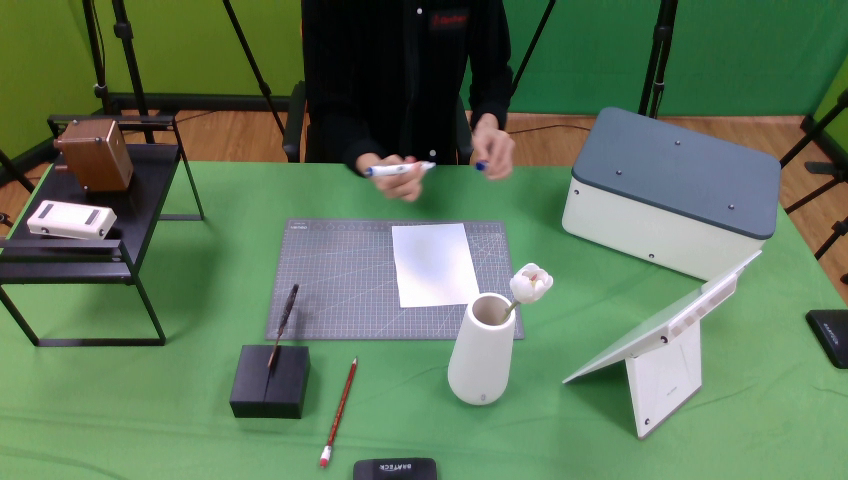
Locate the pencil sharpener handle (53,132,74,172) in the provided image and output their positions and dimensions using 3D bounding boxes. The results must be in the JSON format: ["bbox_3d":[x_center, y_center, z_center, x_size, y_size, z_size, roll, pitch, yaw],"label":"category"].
[{"bbox_3d":[-0.578,-0.138,0.961,0.031,0.068,0.036,-4,34,-7],"label":"pencil sharpener handle"}]

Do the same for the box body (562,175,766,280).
[{"bbox_3d":[0.486,-0.088,1.222,0.363,0.161,0.253,20,48,15],"label":"box body"}]

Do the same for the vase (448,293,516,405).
[{"bbox_3d":[0.091,0.169,0.921,0.098,0.201,0.097,3,47,-3],"label":"vase"}]

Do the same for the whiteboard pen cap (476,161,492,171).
[{"bbox_3d":[0.106,-0.132,1.079,0.018,0.018,0.033,34,20,25],"label":"whiteboard pen cap"}]

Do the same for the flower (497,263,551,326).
[{"bbox_3d":[0.103,0.121,0.853,0.044,0.363,0.038,-1,64,-9],"label":"flower"}]

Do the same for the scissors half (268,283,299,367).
[{"bbox_3d":[-0.230,0.135,0.986,0.013,0.040,0.174,20,43,-11],"label":"scissors half"}]

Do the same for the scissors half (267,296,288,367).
[{"bbox_3d":[-0.239,0.150,0.996,0.013,0.040,0.174,24,24,-14],"label":"scissors half"}]

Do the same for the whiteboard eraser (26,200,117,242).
[{"bbox_3d":[-0.532,-0.026,0.919,0.113,0.042,0.055,7,45,3],"label":"whiteboard eraser"}]

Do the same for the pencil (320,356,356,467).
[{"bbox_3d":[-0.130,0.261,0.946,0.012,0.012,0.193,10,45,5],"label":"pencil"}]

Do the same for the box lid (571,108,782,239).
[{"bbox_3d":[0.491,-0.139,1.168,0.370,0.015,0.262,21,49,15],"label":"box lid"}]

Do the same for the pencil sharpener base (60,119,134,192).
[{"bbox_3d":[-0.528,-0.135,0.979,0.077,0.107,0.061,-4,47,-7],"label":"pencil sharpener base"}]

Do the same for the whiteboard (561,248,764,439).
[{"bbox_3d":[0.386,0.176,0.905,0.217,0.306,0.143,-26,72,-27],"label":"whiteboard"}]

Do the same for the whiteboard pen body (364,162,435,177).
[{"bbox_3d":[-0.035,-0.115,0.968,0.141,0.017,0.017,-12,46,-40],"label":"whiteboard pen body"}]
